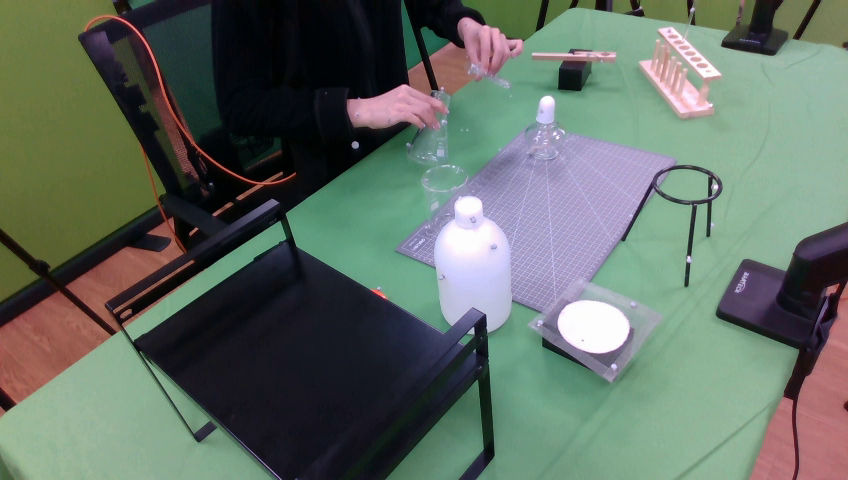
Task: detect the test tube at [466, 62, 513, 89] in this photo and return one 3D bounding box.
[{"bbox_3d":[0.122,-0.297,1.097,0.017,0.017,0.151,27,15,34],"label":"test tube"}]

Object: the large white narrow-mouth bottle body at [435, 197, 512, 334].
[{"bbox_3d":[0.066,0.028,0.805,0.102,0.195,0.101,-4,40,4],"label":"large white narrow-mouth bottle body"}]

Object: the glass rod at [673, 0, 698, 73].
[{"bbox_3d":[0.537,-0.424,1.244,0.008,0.200,0.008,0,47,0],"label":"glass rod"}]

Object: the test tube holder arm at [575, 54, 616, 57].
[{"bbox_3d":[0.373,-0.398,1.318,0.087,0.015,0.010,5,51,15],"label":"test tube holder arm"}]

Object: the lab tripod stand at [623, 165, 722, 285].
[{"bbox_3d":[0.365,-0.030,0.875,0.148,0.132,0.147,-6,41,6],"label":"lab tripod stand"}]

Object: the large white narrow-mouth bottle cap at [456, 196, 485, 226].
[{"bbox_3d":[0.058,-0.036,0.749,0.038,0.024,0.037,-4,40,4],"label":"large white narrow-mouth bottle cap"}]

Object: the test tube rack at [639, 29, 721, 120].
[{"bbox_3d":[0.527,-0.351,1.262,0.067,0.085,0.241,-8,40,1],"label":"test tube rack"}]

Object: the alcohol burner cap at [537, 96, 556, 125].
[{"bbox_3d":[0.223,-0.237,1.095,0.034,0.048,0.033,0,42,1],"label":"alcohol burner cap"}]

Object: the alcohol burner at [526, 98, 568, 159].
[{"bbox_3d":[0.228,-0.210,1.118,0.078,0.119,0.077,-5,43,5],"label":"alcohol burner"}]

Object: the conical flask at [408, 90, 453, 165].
[{"bbox_3d":[0.020,-0.196,1.051,0.075,0.122,0.075,12,21,-4],"label":"conical flask"}]

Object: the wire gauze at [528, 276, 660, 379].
[{"bbox_3d":[0.214,0.103,0.763,0.124,0.011,0.122,30,52,35],"label":"wire gauze"}]

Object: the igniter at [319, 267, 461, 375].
[{"bbox_3d":[-0.060,0.108,0.862,0.274,0.025,0.057,28,62,35],"label":"igniter"}]

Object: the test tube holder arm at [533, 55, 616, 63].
[{"bbox_3d":[0.329,-0.398,1.327,0.178,0.015,0.013,5,51,15],"label":"test tube holder arm"}]

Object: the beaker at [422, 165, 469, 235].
[{"bbox_3d":[0.041,-0.063,0.986,0.073,0.101,0.084,20,47,29],"label":"beaker"}]
